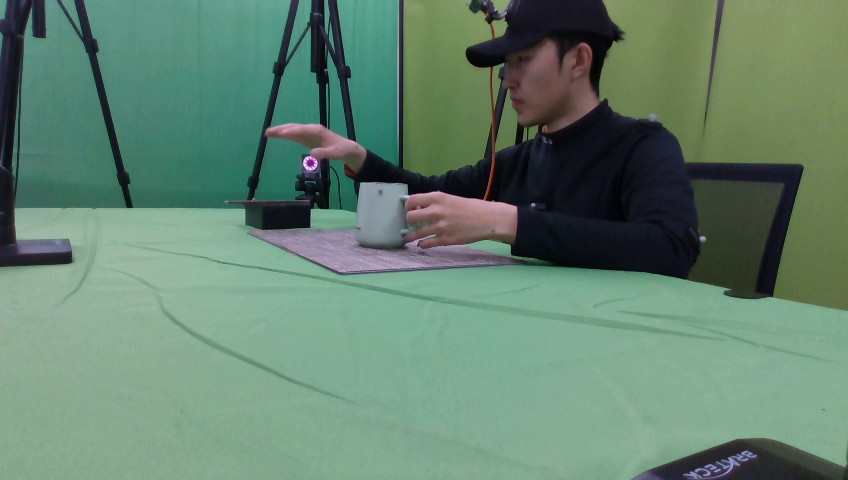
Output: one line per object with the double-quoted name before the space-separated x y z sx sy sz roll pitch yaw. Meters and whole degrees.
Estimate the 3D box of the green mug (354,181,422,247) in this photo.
"green mug" -0.055 -0.042 0.988 0.125 0.105 0.093 7 8 35

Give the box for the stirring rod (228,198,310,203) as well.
"stirring rod" -0.314 -0.081 1.239 0.177 0.006 0.014 -5 10 -40
